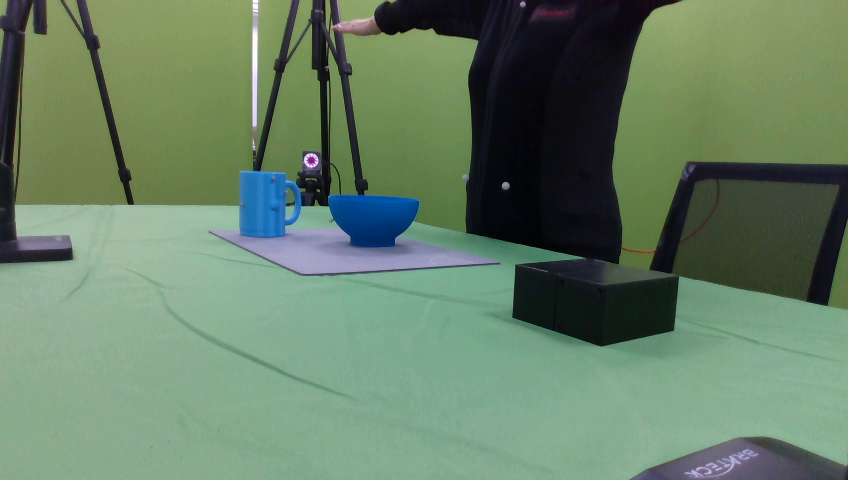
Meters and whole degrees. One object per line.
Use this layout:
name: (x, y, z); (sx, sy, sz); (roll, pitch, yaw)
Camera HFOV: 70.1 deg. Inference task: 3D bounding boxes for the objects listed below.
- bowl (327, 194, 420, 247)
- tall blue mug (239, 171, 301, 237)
bowl: (-0.083, -0.032, 0.987); (0.151, 0.077, 0.151); (2, 7, 0)
tall blue mug: (-0.273, -0.065, 1.055); (0.077, 0.108, 0.107); (3, 8, 16)
